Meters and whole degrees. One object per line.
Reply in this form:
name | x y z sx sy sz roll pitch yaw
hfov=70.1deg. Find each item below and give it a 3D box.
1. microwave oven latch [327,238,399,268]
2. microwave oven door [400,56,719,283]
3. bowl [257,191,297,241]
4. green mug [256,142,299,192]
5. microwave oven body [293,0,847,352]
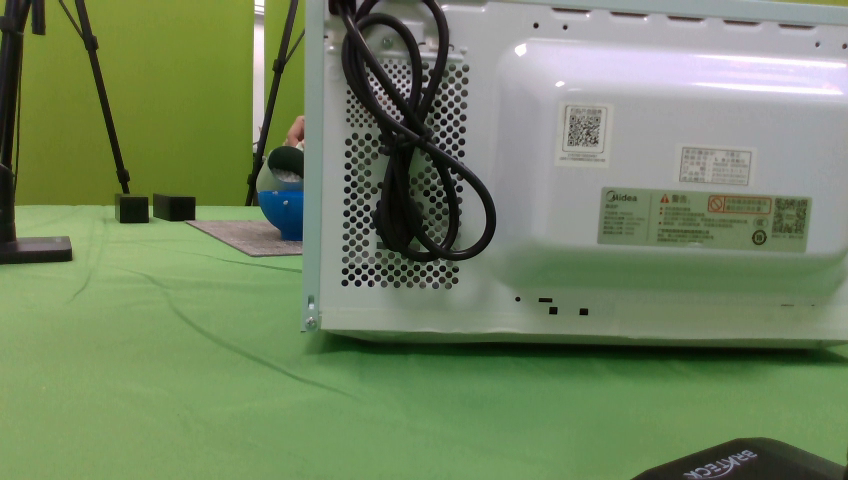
microwave oven latch | -0.069 0.015 0.694 0.079 0.029 0.030 3 7 -3
microwave oven door | 0.155 -0.077 0.697 0.356 0.243 0.039 2 8 -5
bowl | -0.206 -0.040 1.026 0.151 0.077 0.151 3 7 0
green mug | -0.256 -0.129 1.136 0.093 0.125 0.104 26 -30 -10
microwave oven body | 0.122 -0.055 0.550 0.442 0.260 0.325 3 7 -5
